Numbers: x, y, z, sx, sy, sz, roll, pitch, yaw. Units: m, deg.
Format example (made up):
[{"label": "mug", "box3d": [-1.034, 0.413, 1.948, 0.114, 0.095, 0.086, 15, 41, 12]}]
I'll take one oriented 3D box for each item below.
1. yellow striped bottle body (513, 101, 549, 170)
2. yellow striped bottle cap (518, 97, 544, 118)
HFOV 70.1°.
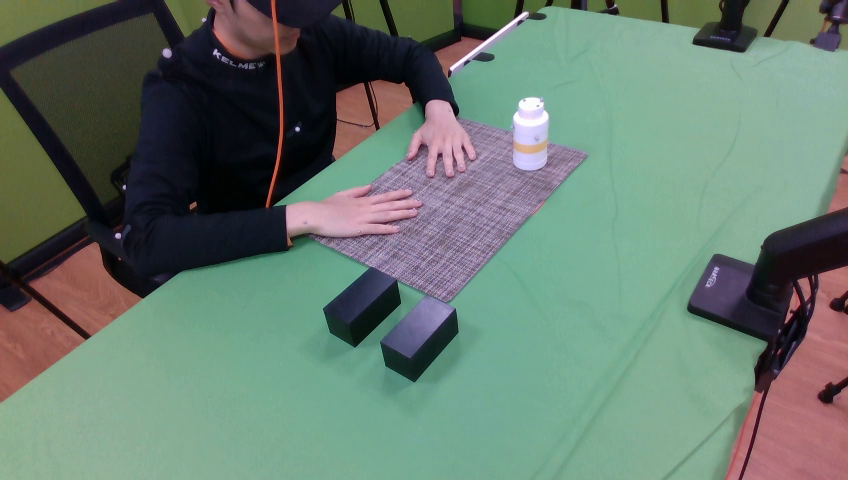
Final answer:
[{"label": "yellow striped bottle body", "box3d": [0.191, -0.192, 1.082, 0.063, 0.121, 0.062, -4, 41, 4]}, {"label": "yellow striped bottle cap", "box3d": [0.186, -0.230, 1.048, 0.044, 0.019, 0.044, -3, 40, 3]}]
